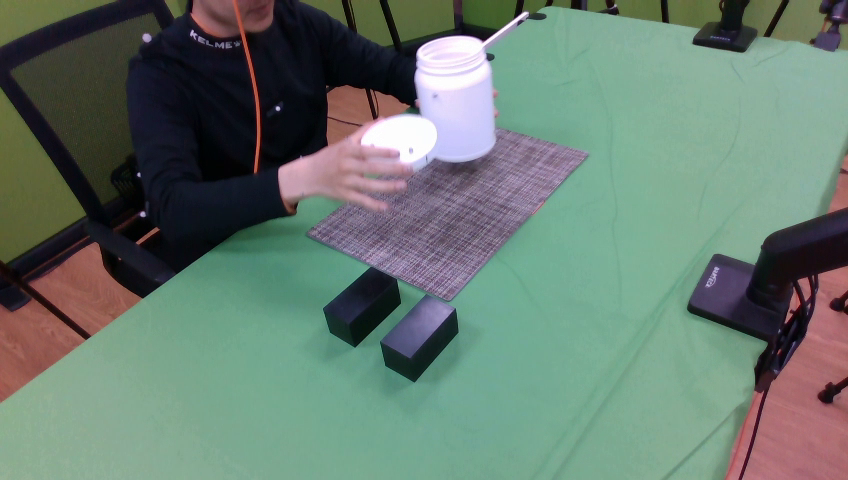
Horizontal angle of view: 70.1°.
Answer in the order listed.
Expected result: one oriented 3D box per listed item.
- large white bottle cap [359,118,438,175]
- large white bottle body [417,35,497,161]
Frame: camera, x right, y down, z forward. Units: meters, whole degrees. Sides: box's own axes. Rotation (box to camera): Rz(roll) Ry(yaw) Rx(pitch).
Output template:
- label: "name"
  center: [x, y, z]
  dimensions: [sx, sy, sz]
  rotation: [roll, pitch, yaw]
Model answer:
- label: "large white bottle cap"
  center: [-0.037, -0.136, 0.872]
  dimensions: [0.115, 0.018, 0.114]
  rotation: [-7, 46, 7]
- label: "large white bottle body"
  center: [0.058, -0.246, 1.048]
  dimensions: [0.130, 0.185, 0.130]
  rotation: [-5, 38, 5]
